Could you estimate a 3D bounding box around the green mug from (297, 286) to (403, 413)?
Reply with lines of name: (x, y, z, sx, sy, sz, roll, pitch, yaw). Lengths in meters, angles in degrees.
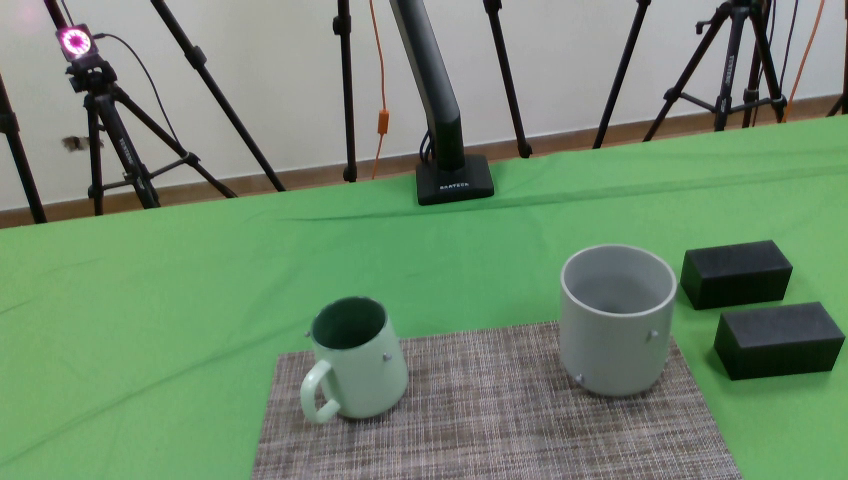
green mug: (-0.081, 0.121, 0.619, 0.092, 0.106, 0.125, 17, 45, 29)

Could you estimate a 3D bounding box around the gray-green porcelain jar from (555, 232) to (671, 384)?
gray-green porcelain jar: (0.185, 0.073, 0.608, 0.106, 0.128, 0.105, -6, 38, 5)
